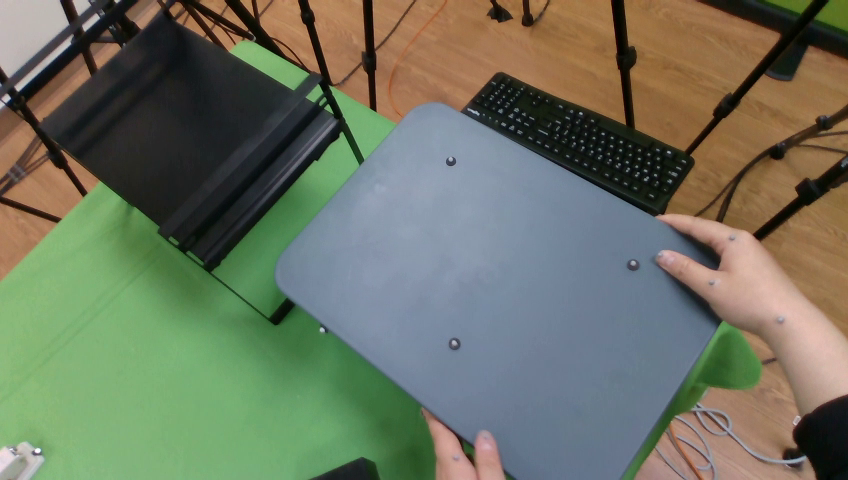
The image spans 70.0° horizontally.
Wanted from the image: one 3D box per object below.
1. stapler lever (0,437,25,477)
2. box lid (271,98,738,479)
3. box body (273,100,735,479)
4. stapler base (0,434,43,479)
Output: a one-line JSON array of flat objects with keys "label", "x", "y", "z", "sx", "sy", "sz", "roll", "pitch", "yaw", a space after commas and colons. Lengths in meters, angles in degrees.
[{"label": "stapler lever", "x": -0.509, "y": 0.278, "z": 0.681, "sx": 0.026, "sy": 0.040, "sz": 0.118, "roll": 29, "pitch": 73, "yaw": 19}, {"label": "box lid", "x": 0.058, "y": 0.027, "z": 0.557, "sx": 0.368, "sy": 0.015, "sz": 0.263, "roll": 34, "pitch": 75, "yaw": 22}, {"label": "box body", "x": 0.072, "y": 0.060, "z": 0.623, "sx": 0.361, "sy": 0.162, "sz": 0.253, "roll": 34, "pitch": 75, "yaw": 22}, {"label": "stapler base", "x": -0.505, "y": 0.289, "z": 0.701, "sx": 0.041, "sy": 0.024, "sz": 0.130, "roll": 29, "pitch": 71, "yaw": 18}]
